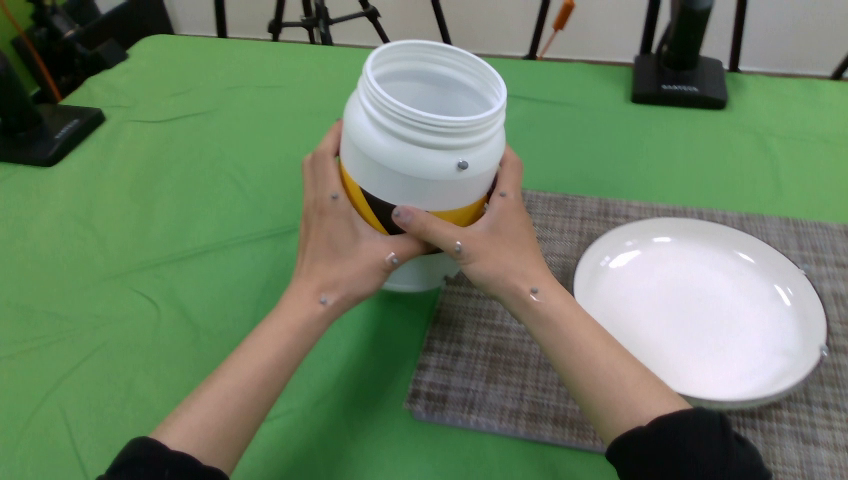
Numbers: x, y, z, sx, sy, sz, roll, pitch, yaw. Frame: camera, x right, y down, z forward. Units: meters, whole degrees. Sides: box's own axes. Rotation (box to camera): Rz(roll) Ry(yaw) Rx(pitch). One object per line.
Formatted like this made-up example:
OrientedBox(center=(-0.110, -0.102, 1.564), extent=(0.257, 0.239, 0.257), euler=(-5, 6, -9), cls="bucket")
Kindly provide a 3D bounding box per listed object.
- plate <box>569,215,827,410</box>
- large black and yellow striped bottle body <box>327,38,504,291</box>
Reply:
OrientedBox(center=(0.231, 0.060, 0.531), extent=(0.207, 0.039, 0.205), euler=(-2, 45, 3), cls="plate")
OrientedBox(center=(-0.010, -0.060, 0.510), extent=(0.131, 0.185, 0.129), euler=(8, 45, -8), cls="large black and yellow striped bottle body")
